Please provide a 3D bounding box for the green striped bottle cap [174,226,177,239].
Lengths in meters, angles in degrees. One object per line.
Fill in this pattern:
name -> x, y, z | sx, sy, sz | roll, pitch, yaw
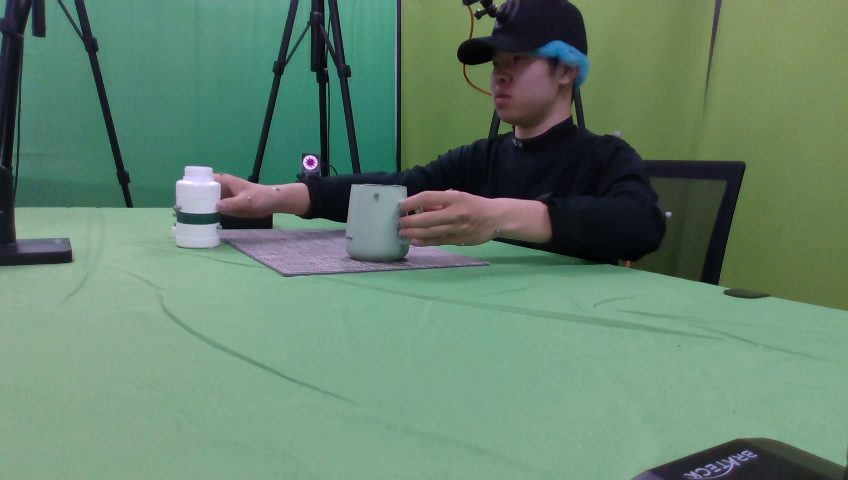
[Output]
green striped bottle cap -> -0.405, -0.015, 1.036 | 0.044, 0.020, 0.044 | -1, 9, 1

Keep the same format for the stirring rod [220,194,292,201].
stirring rod -> -0.353, -0.086, 1.216 | 0.177, 0.014, 0.006 | -2, 13, -27

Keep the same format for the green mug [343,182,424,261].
green mug -> -0.053, -0.026, 0.849 | 0.125, 0.105, 0.093 | 7, 9, 33

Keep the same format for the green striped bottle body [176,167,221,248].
green striped bottle body -> -0.343, -0.051, 0.922 | 0.063, 0.119, 0.063 | 4, 9, 0
